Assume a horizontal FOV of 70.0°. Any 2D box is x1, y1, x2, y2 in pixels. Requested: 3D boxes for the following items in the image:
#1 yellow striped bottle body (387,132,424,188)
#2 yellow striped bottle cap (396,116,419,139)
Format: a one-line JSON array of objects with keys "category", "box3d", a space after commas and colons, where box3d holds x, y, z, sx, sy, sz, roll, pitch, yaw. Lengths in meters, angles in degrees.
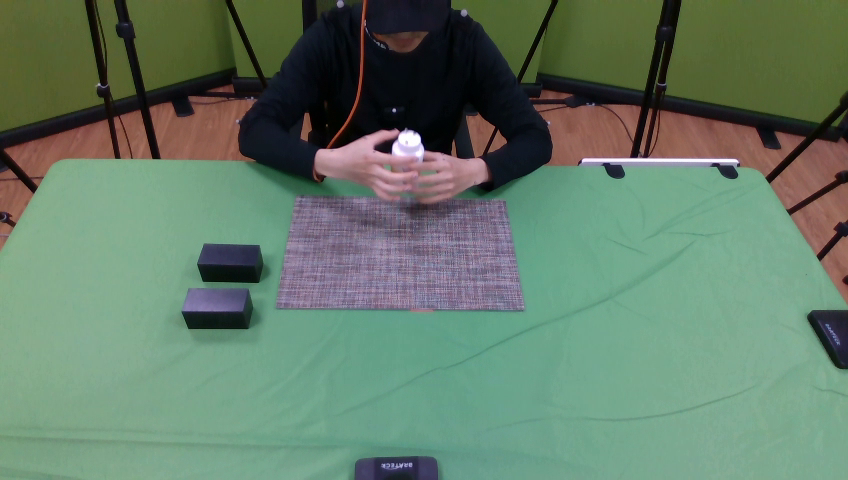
[{"category": "yellow striped bottle body", "box3d": [-0.036, -0.164, 1.197, 0.063, 0.121, 0.062, 6, 50, -7]}, {"category": "yellow striped bottle cap", "box3d": [-0.031, -0.211, 1.140, 0.044, 0.019, 0.044, 2, 58, -3]}]
